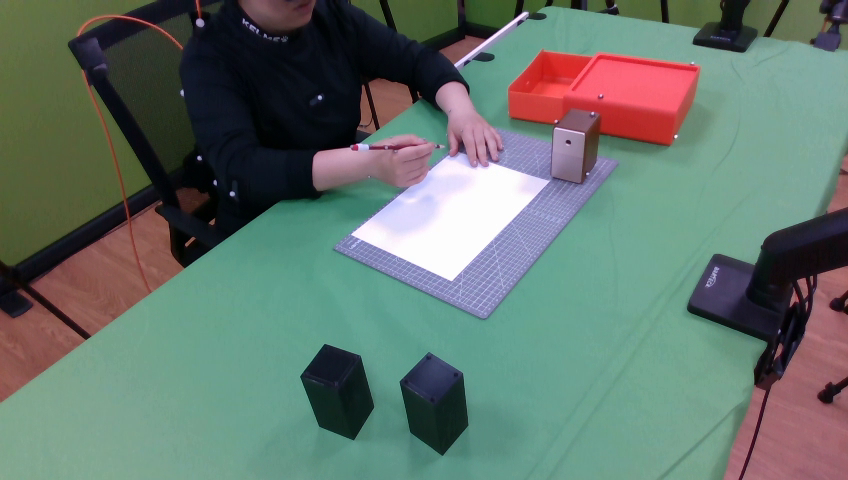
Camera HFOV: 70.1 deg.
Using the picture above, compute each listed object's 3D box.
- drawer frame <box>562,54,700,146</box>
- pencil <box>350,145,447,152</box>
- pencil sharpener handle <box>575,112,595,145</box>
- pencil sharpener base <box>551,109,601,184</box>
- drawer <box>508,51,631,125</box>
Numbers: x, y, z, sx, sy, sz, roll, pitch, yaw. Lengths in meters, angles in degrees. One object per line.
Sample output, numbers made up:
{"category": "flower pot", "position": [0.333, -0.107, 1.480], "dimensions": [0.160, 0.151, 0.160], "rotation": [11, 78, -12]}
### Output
{"category": "drawer frame", "position": [0.407, -0.282, 1.195], "dimensions": [0.212, 0.083, 0.202], "rotation": [17, 45, 25]}
{"category": "pencil", "position": [-0.038, -0.153, 1.005], "dimensions": [0.195, 0.012, 0.012], "rotation": [-8, 34, -37]}
{"category": "pencil sharpener handle", "position": [0.290, -0.203, 1.077], "dimensions": [0.036, 0.068, 0.031], "rotation": [20, 47, 25]}
{"category": "pencil sharpener base", "position": [0.265, -0.163, 1.053], "dimensions": [0.061, 0.107, 0.077], "rotation": [17, 46, 27]}
{"category": "drawer", "position": [0.304, -0.309, 1.246], "dimensions": [0.210, 0.073, 0.195], "rotation": [16, 45, 25]}
